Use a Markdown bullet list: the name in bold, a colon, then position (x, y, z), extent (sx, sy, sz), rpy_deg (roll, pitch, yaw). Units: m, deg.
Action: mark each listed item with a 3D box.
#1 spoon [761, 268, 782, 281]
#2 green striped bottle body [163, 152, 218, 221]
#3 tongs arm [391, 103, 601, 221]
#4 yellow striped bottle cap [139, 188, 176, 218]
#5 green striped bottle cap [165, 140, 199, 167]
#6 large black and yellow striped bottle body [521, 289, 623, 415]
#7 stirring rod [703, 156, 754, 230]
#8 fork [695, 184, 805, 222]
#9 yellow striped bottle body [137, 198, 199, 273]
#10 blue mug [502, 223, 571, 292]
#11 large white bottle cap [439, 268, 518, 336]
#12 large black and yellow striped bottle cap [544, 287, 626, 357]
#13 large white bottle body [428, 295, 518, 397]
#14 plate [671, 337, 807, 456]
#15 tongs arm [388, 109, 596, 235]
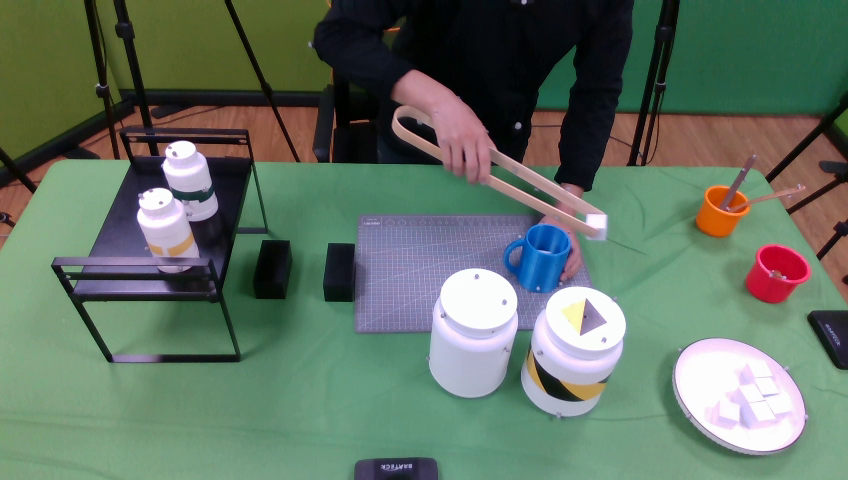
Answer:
- **spoon**: position (0.638, 0.060, 1.105), extent (0.041, 0.021, 0.194), rpy_deg (38, 11, 24)
- **green striped bottle body**: position (-0.363, -0.092, 0.939), extent (0.063, 0.120, 0.063), rpy_deg (2, 46, -2)
- **tongs arm**: position (0.115, -0.126, 1.006), extent (0.384, 0.026, 0.050), rpy_deg (32, 57, 6)
- **yellow striped bottle cap**: position (-0.363, -0.051, 0.826), extent (0.044, 0.019, 0.044), rpy_deg (1, 47, -1)
- **green striped bottle cap**: position (-0.360, -0.128, 0.902), extent (0.044, 0.020, 0.044), rpy_deg (2, 47, -2)
- **large black and yellow striped bottle body**: position (0.228, 0.173, 0.937), extent (0.131, 0.185, 0.130), rpy_deg (2, 47, -2)
- **stirring rod**: position (0.631, -0.098, 1.258), extent (0.014, 0.006, 0.176), rpy_deg (33, 95, 29)
- **fork**: position (0.657, -0.075, 1.230), extent (0.207, 0.019, 0.028), rpy_deg (-23, 34, 37)
- **yellow striped bottle body**: position (-0.366, -0.014, 0.864), extent (0.063, 0.121, 0.062), rpy_deg (2, 46, -2)
- **blue mug**: position (0.202, 0.031, 1.121), extent (0.116, 0.106, 0.082), rpy_deg (5, 47, 1)
- **large white bottle cap**: position (0.080, 0.089, 0.888), extent (0.115, 0.018, 0.114), rpy_deg (2, 47, -2)
- **large black and yellow striped bottle cap**: position (0.232, 0.116, 0.876), extent (0.115, 0.019, 0.114), rpy_deg (1, 46, -1)
- **large white bottle body**: position (0.076, 0.147, 0.950), extent (0.131, 0.185, 0.130), rpy_deg (2, 46, -2)
- **plate**: position (0.504, 0.253, 0.984), extent (0.208, 0.039, 0.206), rpy_deg (2, 46, -2)
- **tongs arm**: position (0.105, -0.109, 0.993), extent (0.387, 0.028, 0.028), rpy_deg (29, 61, 3)
